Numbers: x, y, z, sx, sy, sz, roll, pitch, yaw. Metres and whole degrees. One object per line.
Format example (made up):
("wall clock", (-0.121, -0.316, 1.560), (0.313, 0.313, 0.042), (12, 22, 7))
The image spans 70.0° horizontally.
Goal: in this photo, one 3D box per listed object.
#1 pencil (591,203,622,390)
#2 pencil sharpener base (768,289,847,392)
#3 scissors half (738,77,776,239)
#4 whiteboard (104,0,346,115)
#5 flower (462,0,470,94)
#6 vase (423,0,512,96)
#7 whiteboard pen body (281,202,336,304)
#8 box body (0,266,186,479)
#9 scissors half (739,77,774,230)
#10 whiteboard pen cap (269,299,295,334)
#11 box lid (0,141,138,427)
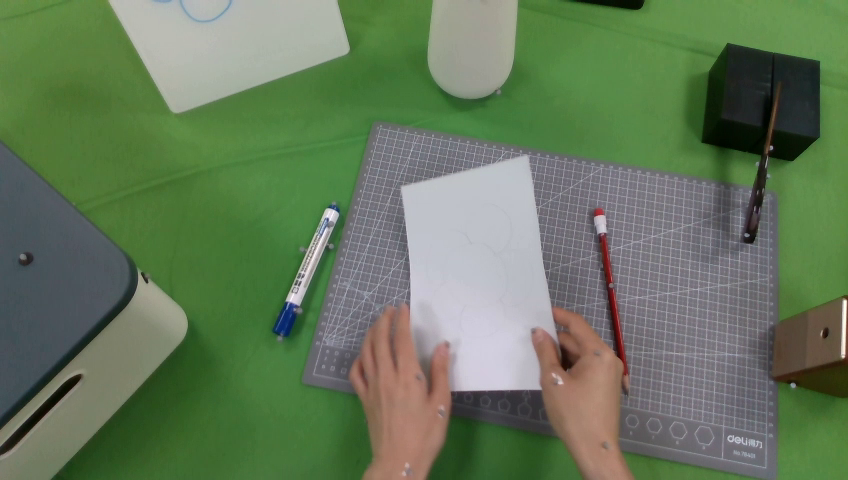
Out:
("pencil", (0.186, 0.053, 0.613), (0.012, 0.012, 0.192), (-2, 72, -1))
("pencil sharpener base", (0.376, 0.094, 0.546), (0.076, 0.107, 0.061), (15, 69, 2))
("scissors half", (0.349, -0.086, 0.631), (0.012, 0.040, 0.175), (11, 89, 29))
("whiteboard", (-0.236, -0.325, 0.629), (0.217, 0.308, 0.142), (-22, 51, -8))
("flower", (0.042, -0.282, 0.549), (0.044, 0.365, 0.038), (4, 51, 5))
("vase", (0.046, -0.239, 0.622), (0.098, 0.201, 0.097), (0, 68, 1))
("whiteboard pen body", (-0.121, 0.023, 0.618), (0.017, 0.017, 0.140), (17, 68, 7))
("box body", (-0.430, 0.041, 0.532), (0.362, 0.161, 0.253), (37, 73, 12))
("scissors half", (0.341, -0.091, 0.613), (0.013, 0.040, 0.174), (12, 71, 24))
("whiteboard pen cap", (-0.138, 0.074, 0.596), (0.018, 0.018, 0.033), (17, 66, 6))
("box lid", (-0.432, 0.012, 0.463), (0.370, 0.015, 0.263), (37, 73, 12))
